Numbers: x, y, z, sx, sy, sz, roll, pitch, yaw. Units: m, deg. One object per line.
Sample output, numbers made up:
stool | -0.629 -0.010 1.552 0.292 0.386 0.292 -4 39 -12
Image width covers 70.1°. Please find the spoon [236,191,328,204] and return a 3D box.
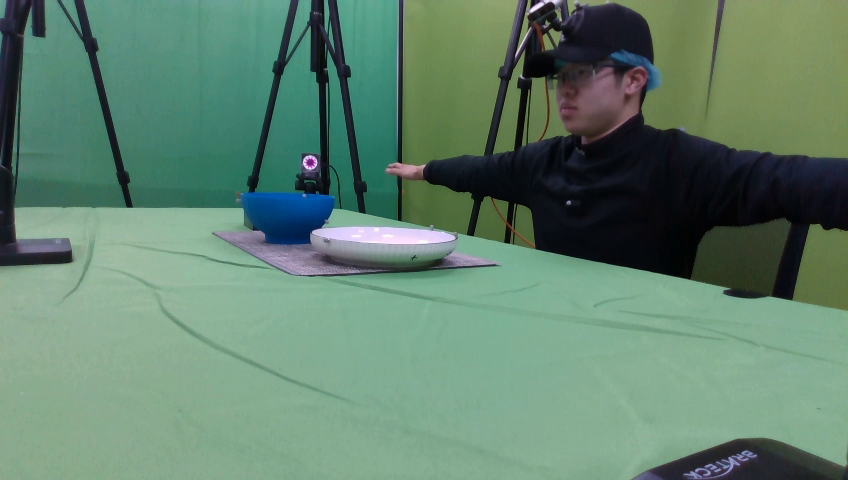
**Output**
spoon | -0.283 -0.085 1.222 0.195 0.021 0.041 -1 8 -34

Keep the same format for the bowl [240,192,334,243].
bowl | -0.223 -0.037 0.992 0.151 0.077 0.151 2 7 0

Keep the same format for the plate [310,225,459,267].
plate | -0.055 0.008 0.851 0.208 0.039 0.207 2 7 0
